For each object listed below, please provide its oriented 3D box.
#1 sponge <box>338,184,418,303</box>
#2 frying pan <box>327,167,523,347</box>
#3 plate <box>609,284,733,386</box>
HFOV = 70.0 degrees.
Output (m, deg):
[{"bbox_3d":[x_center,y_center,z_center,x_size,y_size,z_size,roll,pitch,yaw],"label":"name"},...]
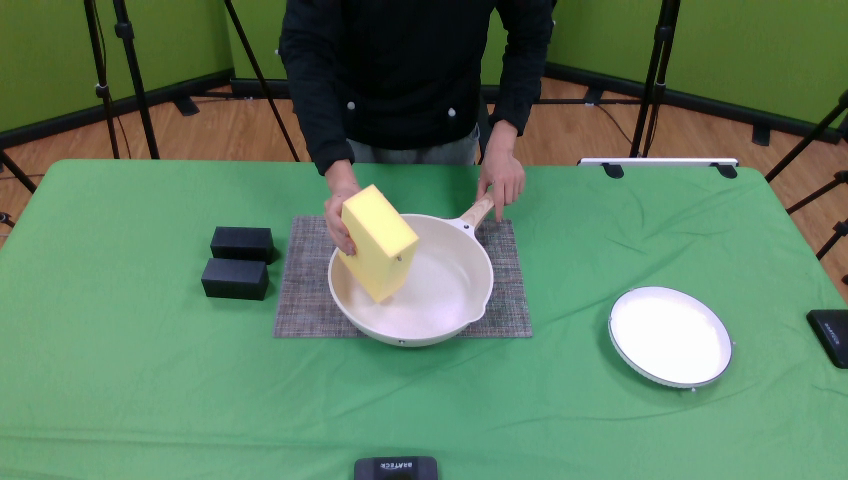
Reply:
[{"bbox_3d":[-0.082,0.012,1.003,0.061,0.207,0.118,-36,76,-22],"label":"sponge"},{"bbox_3d":[0.042,0.009,1.132,0.305,0.103,0.487,33,61,24],"label":"frying pan"},{"bbox_3d":[0.425,0.167,1.059,0.208,0.039,0.206,2,46,-2],"label":"plate"}]
